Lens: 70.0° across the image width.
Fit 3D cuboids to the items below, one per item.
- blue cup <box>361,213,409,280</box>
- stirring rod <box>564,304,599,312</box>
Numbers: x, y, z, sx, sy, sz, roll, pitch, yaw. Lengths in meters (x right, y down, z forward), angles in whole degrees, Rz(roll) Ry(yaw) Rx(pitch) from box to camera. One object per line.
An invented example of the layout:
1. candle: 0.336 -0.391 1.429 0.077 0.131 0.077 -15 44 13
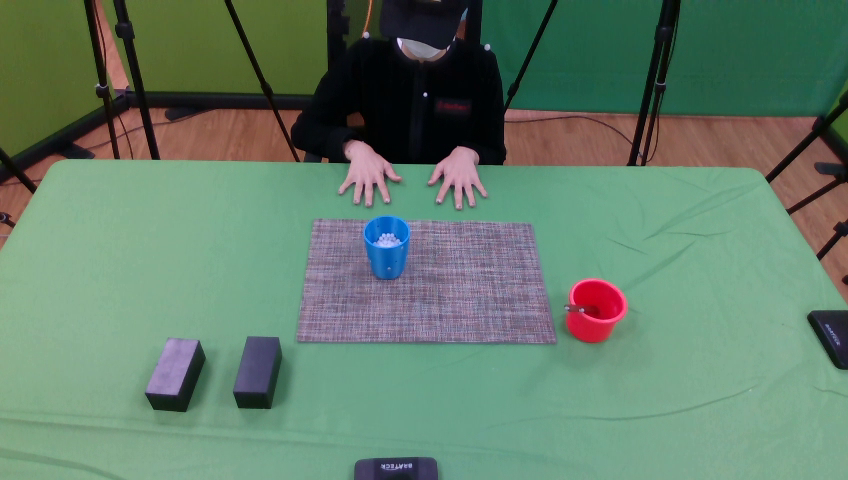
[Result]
1. blue cup: -0.070 0.020 1.113 0.093 0.101 0.092 1 46 -1
2. stirring rod: 0.270 0.116 1.028 0.014 0.006 0.177 44 16 27
